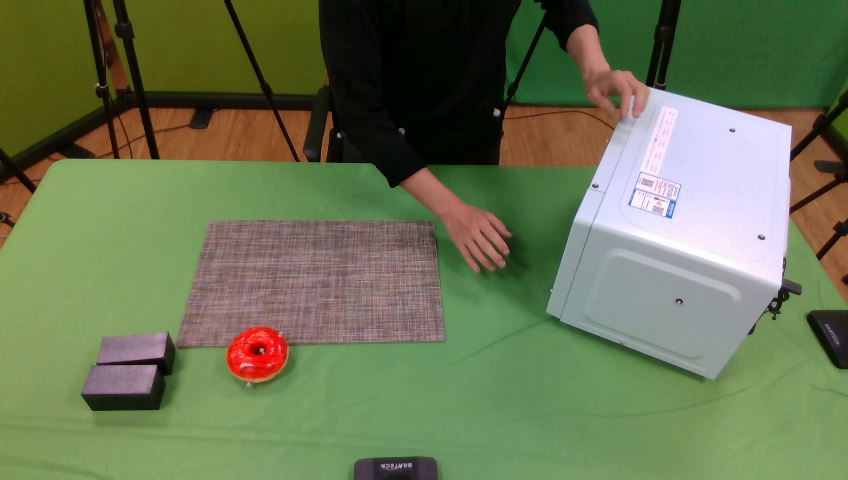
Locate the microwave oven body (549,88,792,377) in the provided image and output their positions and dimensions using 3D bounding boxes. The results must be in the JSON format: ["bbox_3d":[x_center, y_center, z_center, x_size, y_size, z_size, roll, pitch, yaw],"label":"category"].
[{"bbox_3d":[0.456,-0.028,1.088,0.325,0.261,0.440,20,47,16],"label":"microwave oven body"}]

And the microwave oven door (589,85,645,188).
[{"bbox_3d":[0.342,-0.107,1.149,0.039,0.245,0.354,21,48,15],"label":"microwave oven door"}]

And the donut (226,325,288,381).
[{"bbox_3d":[-0.270,0.182,0.984,0.099,0.048,0.098,5,49,-5],"label":"donut"}]

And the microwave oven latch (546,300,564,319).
[{"bbox_3d":[0.242,0.102,1.081,0.030,0.029,0.079,22,48,17],"label":"microwave oven latch"}]
